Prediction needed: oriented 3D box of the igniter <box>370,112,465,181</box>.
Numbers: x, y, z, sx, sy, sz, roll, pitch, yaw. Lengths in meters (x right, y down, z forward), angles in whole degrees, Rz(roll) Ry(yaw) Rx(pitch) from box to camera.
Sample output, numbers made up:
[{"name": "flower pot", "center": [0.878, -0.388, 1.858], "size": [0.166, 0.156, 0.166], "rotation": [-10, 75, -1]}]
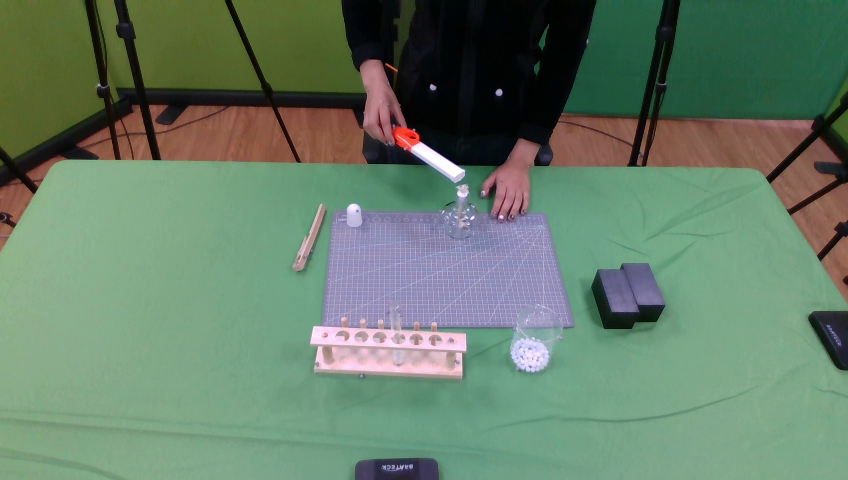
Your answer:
[{"name": "igniter", "center": [-0.021, -0.195, 1.235], "size": [0.057, 0.025, 0.275], "rotation": [-32, 53, -27]}]

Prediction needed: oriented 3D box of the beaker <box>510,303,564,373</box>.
[{"name": "beaker", "center": [0.182, 0.164, 1.000], "size": [0.074, 0.101, 0.083], "rotation": [2, 46, -1]}]

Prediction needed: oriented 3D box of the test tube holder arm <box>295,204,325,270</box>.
[{"name": "test tube holder arm", "center": [-0.222, -0.009, 1.192], "size": [0.013, 0.015, 0.177], "rotation": [-18, 37, 27]}]

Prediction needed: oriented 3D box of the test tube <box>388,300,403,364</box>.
[{"name": "test tube", "center": [-0.044, 0.146, 0.942], "size": [0.017, 0.151, 0.017], "rotation": [-1, 44, 1]}]

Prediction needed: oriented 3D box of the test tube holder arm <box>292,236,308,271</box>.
[{"name": "test tube holder arm", "center": [-0.234, 0.024, 1.163], "size": [0.010, 0.015, 0.087], "rotation": [-17, 38, 29]}]

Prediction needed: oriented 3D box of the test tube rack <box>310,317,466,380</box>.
[{"name": "test tube rack", "center": [-0.056, 0.171, 0.987], "size": [0.242, 0.085, 0.066], "rotation": [3, 45, -1]}]

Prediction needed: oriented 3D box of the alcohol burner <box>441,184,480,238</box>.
[{"name": "alcohol burner", "center": [0.073, -0.061, 1.195], "size": [0.078, 0.120, 0.077], "rotation": [1, 47, -1]}]

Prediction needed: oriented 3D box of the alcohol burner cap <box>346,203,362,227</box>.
[{"name": "alcohol burner cap", "center": [-0.141, -0.053, 1.222], "size": [0.034, 0.048, 0.033], "rotation": [2, 47, -2]}]
